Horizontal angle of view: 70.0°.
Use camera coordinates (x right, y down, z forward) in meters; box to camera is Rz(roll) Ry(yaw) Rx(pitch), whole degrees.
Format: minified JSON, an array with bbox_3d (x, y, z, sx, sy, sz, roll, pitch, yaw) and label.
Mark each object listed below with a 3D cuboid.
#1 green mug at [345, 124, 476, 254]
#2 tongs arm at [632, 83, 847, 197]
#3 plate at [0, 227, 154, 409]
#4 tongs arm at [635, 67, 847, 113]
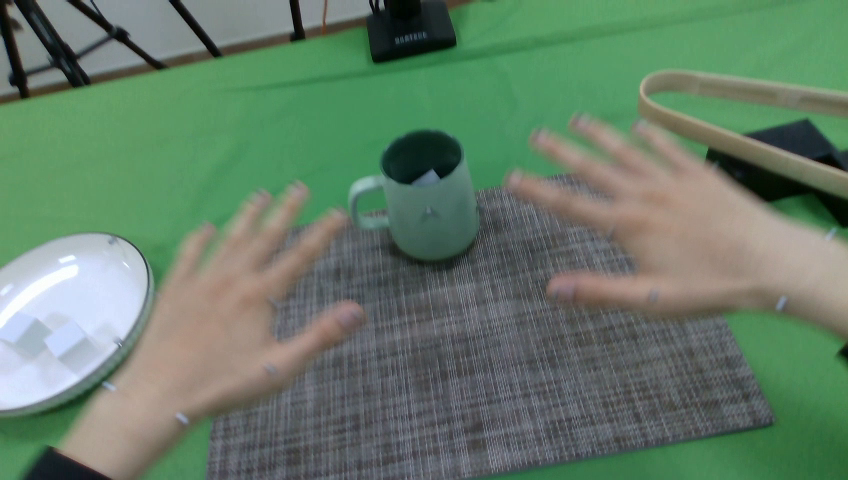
[{"bbox_3d":[-0.014,-0.044,0.589,0.125,0.106,0.091,-12,50,1],"label":"green mug"},{"bbox_3d":[0.353,-0.061,0.528,0.384,0.028,0.028,30,69,30],"label":"tongs arm"},{"bbox_3d":[-0.368,0.076,0.605,0.209,0.038,0.207,-5,50,6],"label":"plate"},{"bbox_3d":[0.395,-0.117,0.563,0.382,0.027,0.050,18,60,24],"label":"tongs arm"}]
